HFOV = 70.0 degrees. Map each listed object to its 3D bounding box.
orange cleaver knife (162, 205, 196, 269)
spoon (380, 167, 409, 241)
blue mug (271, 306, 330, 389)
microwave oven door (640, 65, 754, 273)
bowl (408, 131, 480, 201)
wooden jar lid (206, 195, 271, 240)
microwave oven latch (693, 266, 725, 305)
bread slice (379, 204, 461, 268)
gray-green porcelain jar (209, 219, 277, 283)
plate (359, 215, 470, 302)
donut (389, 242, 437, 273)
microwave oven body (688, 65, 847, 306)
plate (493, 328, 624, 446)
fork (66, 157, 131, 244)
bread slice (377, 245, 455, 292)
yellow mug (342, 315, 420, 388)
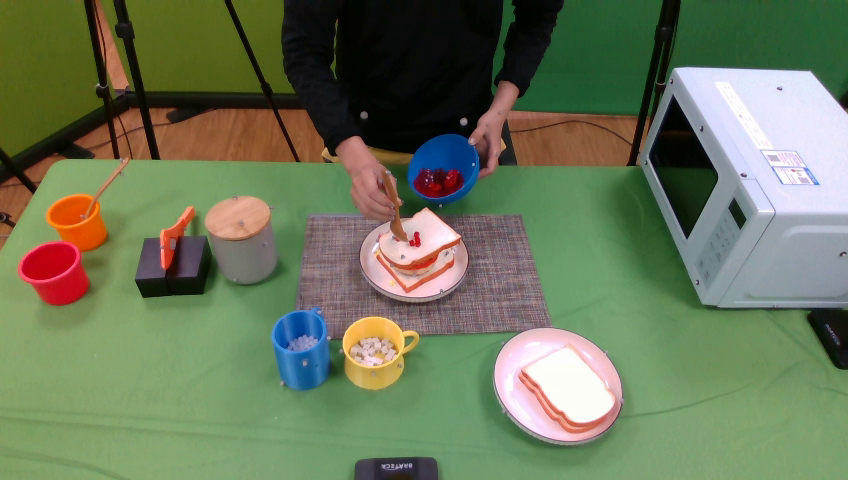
[{"bbox_3d":[-0.454,-0.010,1.129,0.012,0.077,0.210,-1,20,-5],"label":"orange cleaver knife"},{"bbox_3d":[-0.050,-0.056,0.986,0.021,0.195,0.041,-39,59,-21],"label":"spoon"},{"bbox_3d":[-0.188,0.163,0.969,0.082,0.106,0.116,15,47,10],"label":"blue mug"},{"bbox_3d":[0.523,-0.147,1.193,0.039,0.245,0.353,0,47,-3],"label":"microwave oven door"},{"bbox_3d":[0.051,-0.135,1.222,0.151,0.077,0.150,-10,62,20],"label":"bowl"},{"bbox_3d":[-0.319,-0.036,1.046,0.108,0.021,0.107,1,44,0],"label":"wooden jar lid"},{"bbox_3d":[0.523,0.082,1.116,0.030,0.029,0.078,2,46,-1],"label":"microwave oven latch"},{"bbox_3d":[-0.013,-0.003,1.096,0.134,0.018,0.106,-35,50,-21],"label":"bread slice"},{"bbox_3d":[-0.323,0.007,1.092,0.106,0.127,0.105,2,46,-2],"label":"gray-green porcelain jar"},{"bbox_3d":[-0.019,0.038,1.140,0.209,0.038,0.208,2,46,-2],"label":"plate"},{"bbox_3d":[-0.023,0.018,1.120,0.099,0.048,0.098,-10,48,11],"label":"donut"},{"bbox_3d":[0.669,-0.111,1.176,0.326,0.261,0.439,0,46,-3],"label":"microwave oven body"},{"bbox_3d":[0.213,0.236,0.974,0.208,0.039,0.206,2,46,-2],"label":"plate"},{"bbox_3d":[-0.608,-0.074,1.132,0.207,0.019,0.028,-52,48,10],"label":"fork"},{"bbox_3d":[-0.010,0.034,1.151,0.131,0.019,0.104,-29,56,-23],"label":"bread slice"},{"bbox_3d":[-0.068,0.177,0.990,0.131,0.064,0.099,-15,50,-19],"label":"yellow mug"}]
